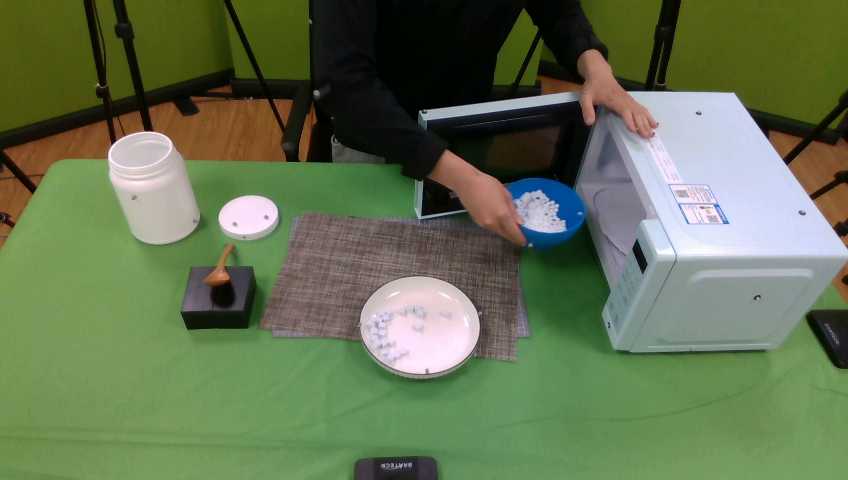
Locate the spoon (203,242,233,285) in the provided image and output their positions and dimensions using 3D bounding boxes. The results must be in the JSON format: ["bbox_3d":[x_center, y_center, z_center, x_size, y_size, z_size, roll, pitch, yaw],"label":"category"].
[{"bbox_3d":[-0.360,0.039,1.087,0.041,0.022,0.192,-5,24,-7],"label":"spoon"}]

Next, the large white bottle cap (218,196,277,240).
[{"bbox_3d":[-0.354,-0.045,1.220,0.115,0.018,0.114,2,46,-2],"label":"large white bottle cap"}]

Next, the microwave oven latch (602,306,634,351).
[{"bbox_3d":[0.332,0.153,1.044,0.030,0.029,0.078,0,45,-4],"label":"microwave oven latch"}]

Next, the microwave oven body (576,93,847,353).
[{"bbox_3d":[0.475,-0.042,1.109,0.326,0.261,0.438,-1,45,-4],"label":"microwave oven body"}]

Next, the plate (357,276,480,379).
[{"bbox_3d":[-0.009,0.151,1.038,0.209,0.038,0.208,2,47,-2],"label":"plate"}]

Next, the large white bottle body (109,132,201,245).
[{"bbox_3d":[-0.506,-0.097,1.141,0.131,0.185,0.130,2,46,-2],"label":"large white bottle body"}]

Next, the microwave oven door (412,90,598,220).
[{"bbox_3d":[0.156,-0.167,1.200,0.356,0.245,0.039,-10,47,-14],"label":"microwave oven door"}]

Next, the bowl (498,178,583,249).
[{"bbox_3d":[0.204,-0.036,1.096,0.151,0.077,0.150,3,45,-3],"label":"bowl"}]
